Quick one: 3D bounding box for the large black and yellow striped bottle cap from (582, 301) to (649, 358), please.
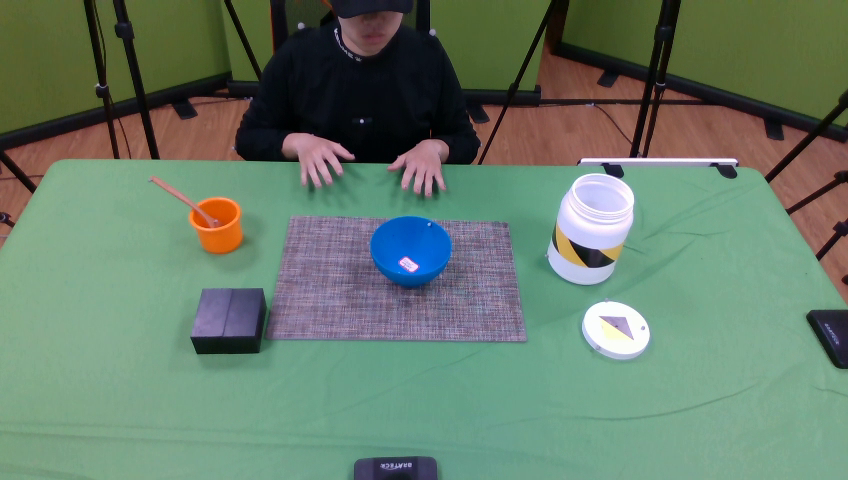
[{"bbox_3d":[0.340,0.157,1.077,0.115,0.019,0.114,1,47,-1],"label":"large black and yellow striped bottle cap"}]

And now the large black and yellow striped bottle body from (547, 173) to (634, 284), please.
[{"bbox_3d":[0.309,-0.022,1.129,0.131,0.185,0.130,2,46,-2],"label":"large black and yellow striped bottle body"}]

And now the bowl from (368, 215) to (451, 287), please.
[{"bbox_3d":[-0.028,0.033,1.120,0.151,0.077,0.150,2,46,-2],"label":"bowl"}]

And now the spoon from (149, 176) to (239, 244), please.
[{"bbox_3d":[-0.427,-0.057,1.132,0.021,0.195,0.041,-27,31,34],"label":"spoon"}]
